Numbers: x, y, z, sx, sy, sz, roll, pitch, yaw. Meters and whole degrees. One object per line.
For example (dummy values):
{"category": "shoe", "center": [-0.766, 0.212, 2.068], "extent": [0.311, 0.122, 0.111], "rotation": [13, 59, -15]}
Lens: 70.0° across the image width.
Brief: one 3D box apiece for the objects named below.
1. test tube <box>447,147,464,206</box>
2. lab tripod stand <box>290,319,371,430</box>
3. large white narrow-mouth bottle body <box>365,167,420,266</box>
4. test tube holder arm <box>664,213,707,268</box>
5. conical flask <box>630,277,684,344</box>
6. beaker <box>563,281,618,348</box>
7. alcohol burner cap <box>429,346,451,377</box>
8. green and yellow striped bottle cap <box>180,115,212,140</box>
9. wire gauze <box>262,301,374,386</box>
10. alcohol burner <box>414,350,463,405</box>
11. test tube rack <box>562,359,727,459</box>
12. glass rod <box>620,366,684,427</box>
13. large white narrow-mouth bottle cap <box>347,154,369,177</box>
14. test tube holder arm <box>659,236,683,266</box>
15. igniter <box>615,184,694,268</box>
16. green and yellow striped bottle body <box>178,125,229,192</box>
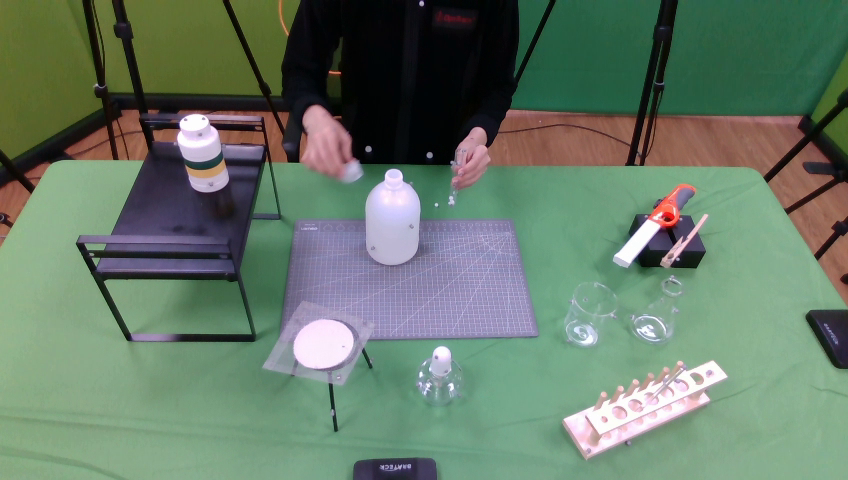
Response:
{"category": "test tube", "center": [0.057, -0.113, 1.111], "extent": [0.017, 0.151, 0.017], "rotation": [2, 55, -3]}
{"category": "lab tripod stand", "center": [-0.146, 0.193, 0.923], "extent": [0.148, 0.132, 0.147], "rotation": [1, 47, -1]}
{"category": "large white narrow-mouth bottle body", "center": [-0.058, -0.049, 1.118], "extent": [0.102, 0.195, 0.101], "rotation": [2, 44, -2]}
{"category": "test tube holder arm", "center": [0.507, -0.001, 1.171], "extent": [0.013, 0.015, 0.178], "rotation": [34, 54, 26]}
{"category": "conical flask", "center": [0.408, 0.117, 1.045], "extent": [0.075, 0.122, 0.075], "rotation": [2, 46, -2]}
{"category": "beaker", "center": [0.283, 0.129, 1.041], "extent": [0.074, 0.101, 0.083], "rotation": [11, 46, 7]}
{"category": "alcohol burner cap", "center": [0.026, 0.180, 0.912], "extent": [0.034, 0.048, 0.033], "rotation": [1, 47, -1]}
{"category": "green and yellow striped bottle cap", "center": [-0.358, -0.177, 0.951], "extent": [0.045, 0.020, 0.045], "rotation": [2, 45, -2]}
{"category": "wire gauze", "center": [-0.150, 0.148, 0.873], "extent": [0.121, 0.011, 0.124], "rotation": [14, 46, 12]}
{"category": "alcohol burner", "center": [0.023, 0.205, 0.939], "extent": [0.078, 0.120, 0.077], "rotation": [1, 48, -1]}
{"category": "test tube rack", "center": [0.341, 0.247, 0.940], "extent": [0.243, 0.085, 0.066], "rotation": [-16, 49, -19]}
{"category": "glass rod", "center": [0.323, 0.227, 0.866], "extent": [0.008, 0.200, 0.008], "rotation": [5, 51, -6]}
{"category": "large white narrow-mouth bottle cap", "center": [-0.113, -0.128, 1.039], "extent": [0.038, 0.024, 0.037], "rotation": [2, 45, -2]}
{"category": "test tube holder arm", "center": [0.472, 0.020, 1.149], "extent": [0.010, 0.015, 0.088], "rotation": [35, 54, 27]}
{"category": "igniter", "center": [0.459, -0.035, 1.197], "extent": [0.057, 0.025, 0.276], "rotation": [32, 55, 27]}
{"category": "green and yellow striped bottle body", "center": [-0.361, -0.142, 0.989], "extent": [0.063, 0.120, 0.063], "rotation": [2, 46, -2]}
